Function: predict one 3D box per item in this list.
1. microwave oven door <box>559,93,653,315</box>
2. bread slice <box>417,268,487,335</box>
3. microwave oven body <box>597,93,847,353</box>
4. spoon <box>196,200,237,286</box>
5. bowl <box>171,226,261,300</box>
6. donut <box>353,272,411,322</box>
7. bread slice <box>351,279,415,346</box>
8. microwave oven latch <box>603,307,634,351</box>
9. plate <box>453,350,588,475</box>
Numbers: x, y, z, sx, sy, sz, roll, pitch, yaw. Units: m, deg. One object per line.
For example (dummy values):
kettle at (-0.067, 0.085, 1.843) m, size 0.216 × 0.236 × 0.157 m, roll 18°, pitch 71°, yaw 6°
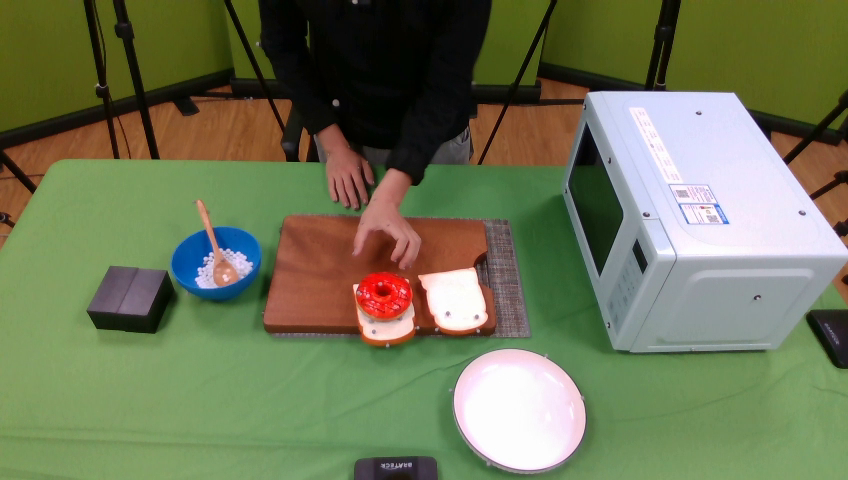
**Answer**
microwave oven door at (0.327, -0.074, 1.123) m, size 0.039 × 0.245 × 0.353 m, roll -1°, pitch 46°, yaw -5°
bread slice at (0.055, 0.107, 1.063) m, size 0.107 × 0.018 × 0.133 m, roll -9°, pitch 48°, yaw -12°
microwave oven body at (0.475, -0.041, 1.109) m, size 0.326 × 0.261 × 0.438 m, roll -1°, pitch 45°, yaw -4°
spoon at (-0.378, 0.003, 1.086) m, size 0.042 × 0.022 × 0.192 m, roll -14°, pitch 67°, yaw -24°
bowl at (-0.363, 0.054, 1.081) m, size 0.151 × 0.077 × 0.150 m, roll 2°, pitch 45°, yaw -2°
donut at (-0.070, 0.096, 1.025) m, size 0.099 × 0.048 × 0.098 m, roll 2°, pitch 45°, yaw -2°
bread slice at (-0.067, 0.122, 1.040) m, size 0.105 × 0.019 × 0.130 m, roll -6°, pitch 48°, yaw -9°
microwave oven latch at (0.332, 0.153, 1.044) m, size 0.030 × 0.029 × 0.078 m, roll 0°, pitch 45°, yaw -4°
plate at (0.147, 0.267, 0.943) m, size 0.208 × 0.039 × 0.206 m, roll 2°, pitch 45°, yaw -2°
